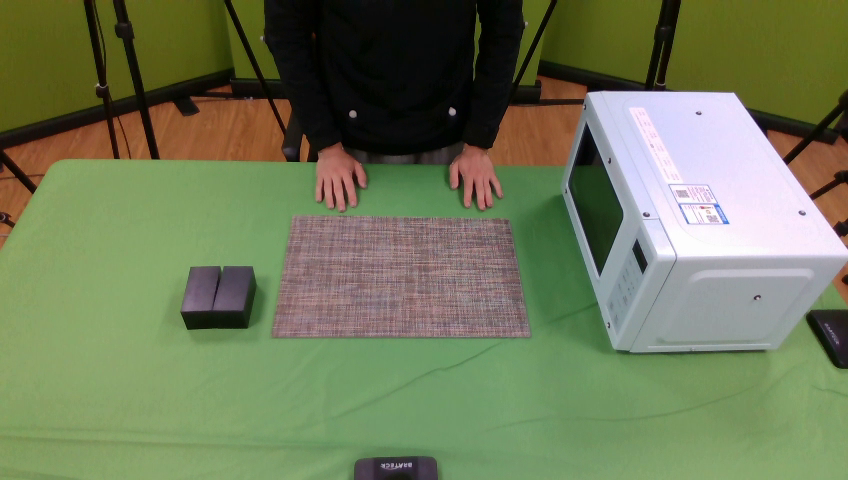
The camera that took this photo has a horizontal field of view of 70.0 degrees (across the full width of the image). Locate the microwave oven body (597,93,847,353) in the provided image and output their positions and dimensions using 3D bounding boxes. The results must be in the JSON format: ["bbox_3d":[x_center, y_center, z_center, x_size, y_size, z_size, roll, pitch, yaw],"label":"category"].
[{"bbox_3d":[0.475,-0.041,1.109,0.326,0.261,0.438,-1,45,-4],"label":"microwave oven body"}]

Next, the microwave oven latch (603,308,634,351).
[{"bbox_3d":[0.332,0.153,1.043,0.030,0.029,0.078,0,45,-3],"label":"microwave oven latch"}]

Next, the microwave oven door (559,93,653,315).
[{"bbox_3d":[0.327,-0.074,1.123,0.039,0.245,0.353,-1,46,-5],"label":"microwave oven door"}]
